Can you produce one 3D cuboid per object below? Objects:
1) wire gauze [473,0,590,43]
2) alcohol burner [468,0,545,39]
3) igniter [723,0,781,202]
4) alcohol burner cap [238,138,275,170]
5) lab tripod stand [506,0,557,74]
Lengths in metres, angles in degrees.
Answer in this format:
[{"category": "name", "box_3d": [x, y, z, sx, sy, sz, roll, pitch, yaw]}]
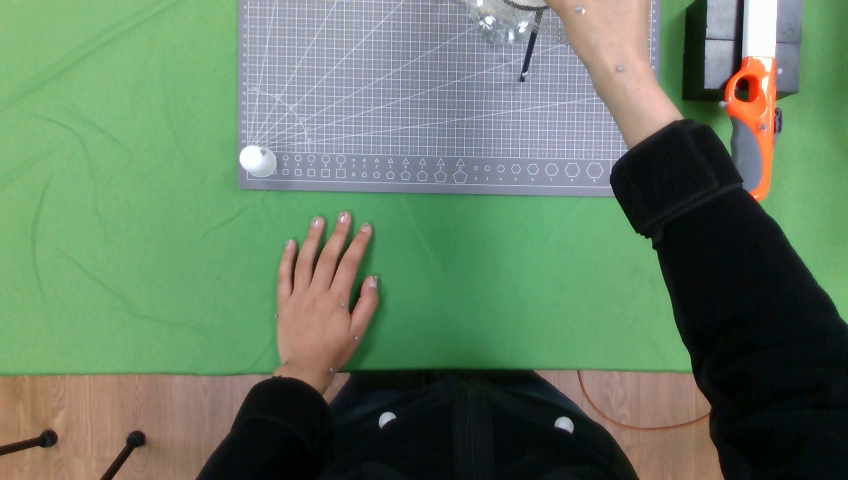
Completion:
[{"category": "wire gauze", "box_3d": [0.096, -0.247, 0.519, 0.122, 0.011, 0.125, 23, 88, -7]}, {"category": "alcohol burner", "box_3d": [0.083, -0.242, 0.592, 0.078, 0.119, 0.078, 0, 93, -1]}, {"category": "igniter", "box_3d": [0.329, -0.175, 0.604, 0.057, 0.025, 0.276, 4, 90, 0]}, {"category": "alcohol burner cap", "box_3d": [-0.174, -0.090, 0.621, 0.034, 0.048, 0.034, 0, 91, -3]}, {"category": "lab tripod stand", "box_3d": [0.092, -0.250, 0.582, 0.148, 0.131, 0.148, 0, 89, -2]}]
